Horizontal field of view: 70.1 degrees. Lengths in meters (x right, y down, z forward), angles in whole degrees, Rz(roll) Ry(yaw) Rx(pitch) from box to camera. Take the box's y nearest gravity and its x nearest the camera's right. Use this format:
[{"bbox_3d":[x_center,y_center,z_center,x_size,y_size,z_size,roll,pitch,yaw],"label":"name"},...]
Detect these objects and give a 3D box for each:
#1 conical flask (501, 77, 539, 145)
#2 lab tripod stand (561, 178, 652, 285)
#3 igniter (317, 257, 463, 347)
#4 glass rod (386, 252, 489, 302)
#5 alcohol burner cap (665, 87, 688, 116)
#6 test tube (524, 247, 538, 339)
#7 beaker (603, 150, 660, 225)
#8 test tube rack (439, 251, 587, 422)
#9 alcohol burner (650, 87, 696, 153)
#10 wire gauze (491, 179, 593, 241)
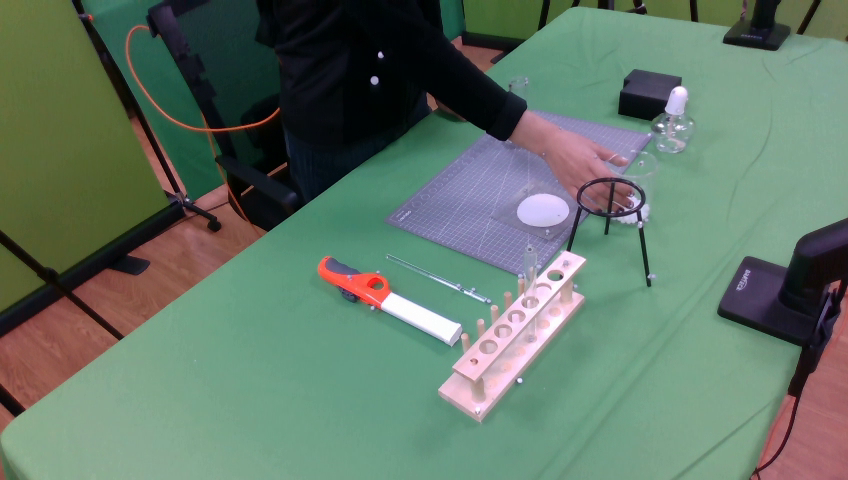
[{"bbox_3d":[0.183,-0.250,1.163,0.075,0.122,0.075,-6,40,5],"label":"conical flask"},{"bbox_3d":[0.263,-0.014,0.864,0.148,0.132,0.147,-7,38,6],"label":"lab tripod stand"},{"bbox_3d":[-0.061,0.086,0.891,0.274,0.025,0.057,23,59,33],"label":"igniter"},{"bbox_3d":[0.016,0.055,0.927,0.198,0.008,0.008,23,50,32],"label":"glass rod"},{"bbox_3d":[0.445,-0.244,1.060,0.034,0.048,0.033,-2,45,3],"label":"alcohol burner cap"},{"bbox_3d":[0.133,0.070,0.749,0.017,0.151,0.017,-5,38,4],"label":"test tube"},{"bbox_3d":[0.324,-0.080,0.957,0.083,0.101,0.074,7,42,20],"label":"beaker"},{"bbox_3d":[0.118,0.111,0.780,0.066,0.085,0.243,26,51,34],"label":"test tube rack"},{"bbox_3d":[0.448,-0.217,1.084,0.078,0.119,0.077,-6,38,5],"label":"alcohol burner"},{"bbox_3d":[0.198,-0.051,1.014,0.125,0.011,0.120,-38,48,-27],"label":"wire gauze"}]
